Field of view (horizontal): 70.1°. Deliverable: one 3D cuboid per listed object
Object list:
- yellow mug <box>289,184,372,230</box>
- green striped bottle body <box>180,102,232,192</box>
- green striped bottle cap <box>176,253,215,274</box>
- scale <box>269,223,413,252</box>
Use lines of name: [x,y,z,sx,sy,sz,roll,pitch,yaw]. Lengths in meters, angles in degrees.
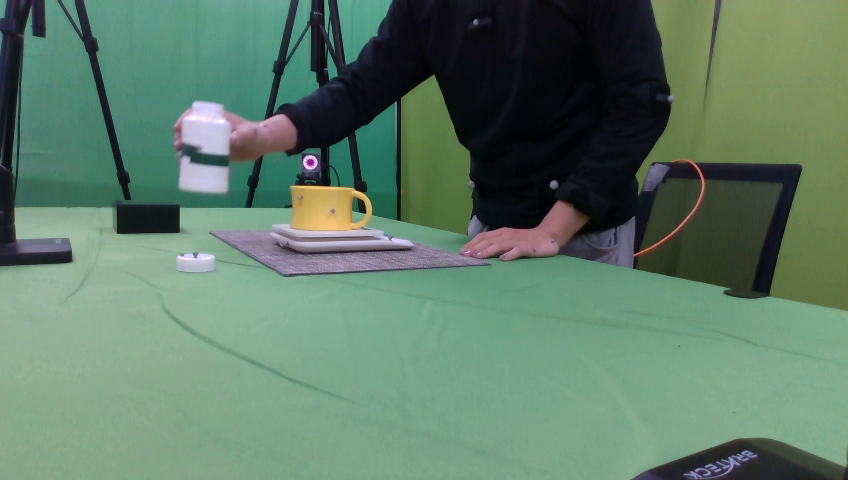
yellow mug: [-0.145,-0.052,0.943,0.131,0.064,0.100,4,6,9]
green striped bottle body: [-0.297,-0.127,0.828,0.063,0.119,0.063,6,8,0]
green striped bottle cap: [-0.279,0.029,0.741,0.044,0.020,0.044,5,5,0]
scale: [-0.132,-0.007,0.965,0.202,0.031,0.148,-1,8,-31]
